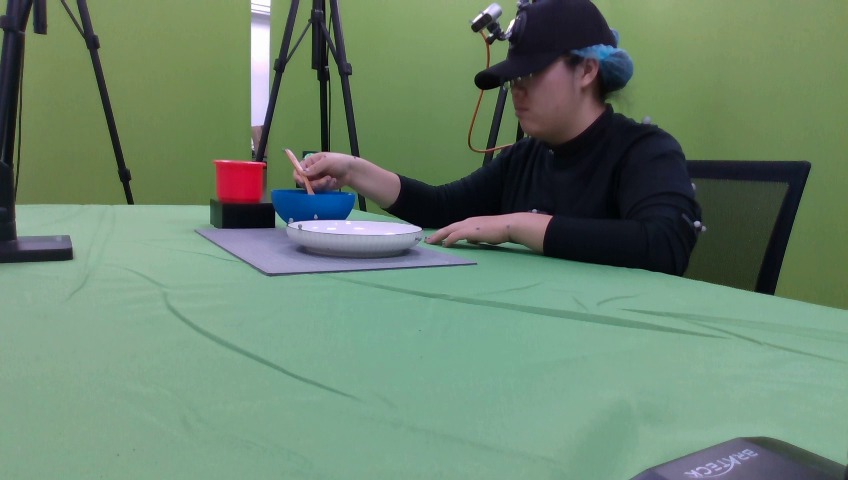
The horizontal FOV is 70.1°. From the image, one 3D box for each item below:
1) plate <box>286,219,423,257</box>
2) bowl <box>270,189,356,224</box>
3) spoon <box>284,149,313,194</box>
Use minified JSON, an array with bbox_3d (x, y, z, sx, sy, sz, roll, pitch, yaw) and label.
[{"bbox_3d":[-0.105,-0.004,0.922,0.208,0.039,0.207,3,8,0],"label":"plate"},{"bbox_3d":[-0.198,-0.048,1.080,0.151,0.077,0.151,3,7,0],"label":"bowl"},{"bbox_3d":[-0.217,-0.101,1.111,0.042,0.193,0.021,-5,-35,-38],"label":"spoon"}]
